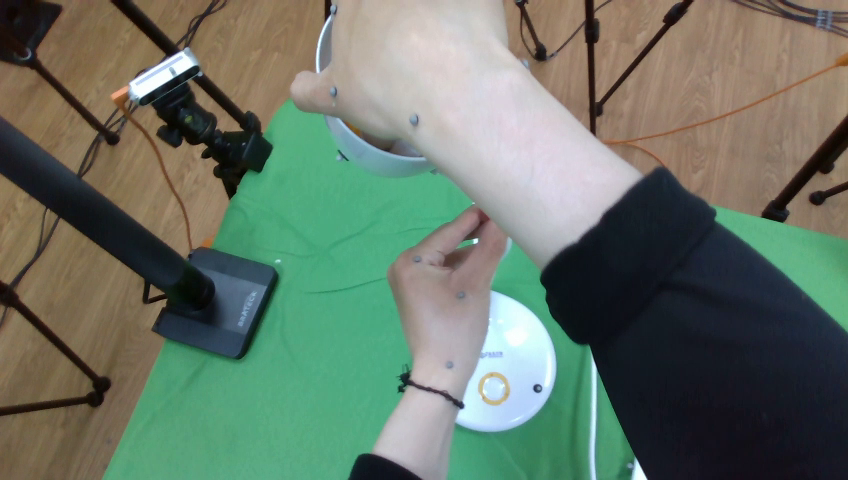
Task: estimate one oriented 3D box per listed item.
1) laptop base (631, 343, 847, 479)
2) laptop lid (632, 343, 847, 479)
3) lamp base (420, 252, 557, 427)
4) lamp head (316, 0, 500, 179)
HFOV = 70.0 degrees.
[{"bbox_3d":[0.407,0.268,0.662,0.354,0.023,0.234,14,72,7],"label":"laptop base"},{"bbox_3d":[0.406,0.266,0.650,0.356,0.013,0.240,16,71,7],"label":"laptop lid"},{"bbox_3d":[0.070,0.098,0.647,0.161,0.181,0.177,-14,66,-4],"label":"lamp base"},{"bbox_3d":[-0.016,-0.089,0.409,0.112,0.123,0.112,2,76,-8],"label":"lamp head"}]
